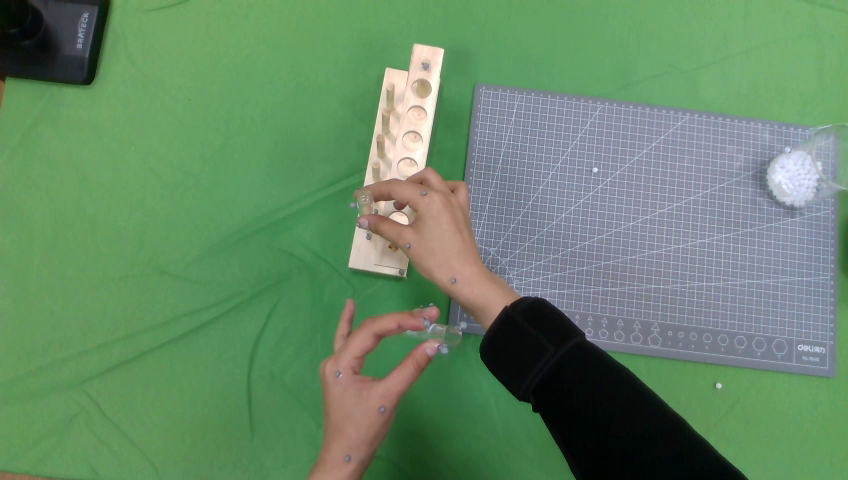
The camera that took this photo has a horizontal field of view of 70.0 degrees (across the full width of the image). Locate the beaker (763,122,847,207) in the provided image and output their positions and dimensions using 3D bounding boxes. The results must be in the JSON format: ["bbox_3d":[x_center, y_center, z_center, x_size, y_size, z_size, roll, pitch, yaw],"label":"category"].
[{"bbox_3d":[0.439,-0.083,0.682,0.084,0.100,0.074,44,82,6],"label":"beaker"}]

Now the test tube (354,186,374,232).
[{"bbox_3d":[-0.058,-0.029,0.601,0.017,0.151,0.017,1,81,-4],"label":"test tube"}]

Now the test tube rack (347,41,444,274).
[{"bbox_3d":[-0.033,-0.090,0.669,0.067,0.085,0.241,10,81,-1],"label":"test tube rack"}]

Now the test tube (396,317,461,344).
[{"bbox_3d":[-0.001,0.074,0.507,0.017,0.150,0.017,1,84,-16],"label":"test tube"}]
